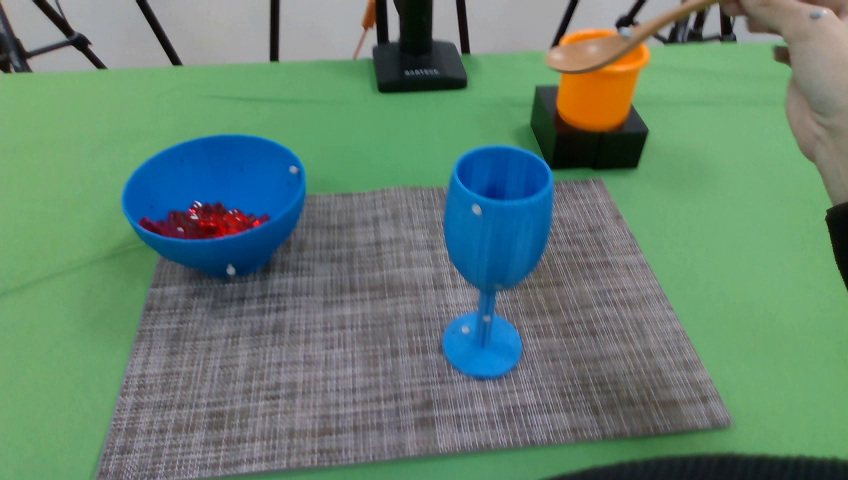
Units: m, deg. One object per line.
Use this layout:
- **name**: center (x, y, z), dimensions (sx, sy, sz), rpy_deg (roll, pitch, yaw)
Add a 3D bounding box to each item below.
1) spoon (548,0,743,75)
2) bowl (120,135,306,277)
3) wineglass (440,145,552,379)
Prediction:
- **spoon**: center (0.169, -0.140, 0.378), dimensions (0.193, 0.022, 0.041), rpy_deg (-14, 35, 36)
- **bowl**: center (-0.178, -0.020, 0.541), dimensions (0.151, 0.077, 0.150), rpy_deg (1, 43, -1)
- **wineglass**: center (0.046, 0.022, 0.433), dimensions (0.074, 0.174, 0.073), rpy_deg (1, 43, -1)
